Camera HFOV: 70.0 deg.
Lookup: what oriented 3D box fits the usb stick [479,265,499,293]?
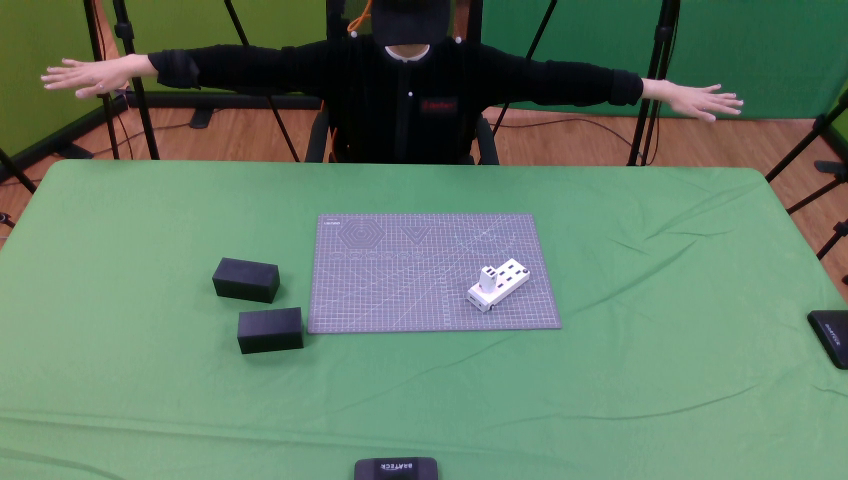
[{"bbox_3d":[0.115,0.074,1.084,0.021,0.059,0.027,-34,60,-31],"label":"usb stick"}]

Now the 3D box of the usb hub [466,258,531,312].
[{"bbox_3d":[0.139,0.083,1.121,0.125,0.025,0.049,-32,56,-30],"label":"usb hub"}]
